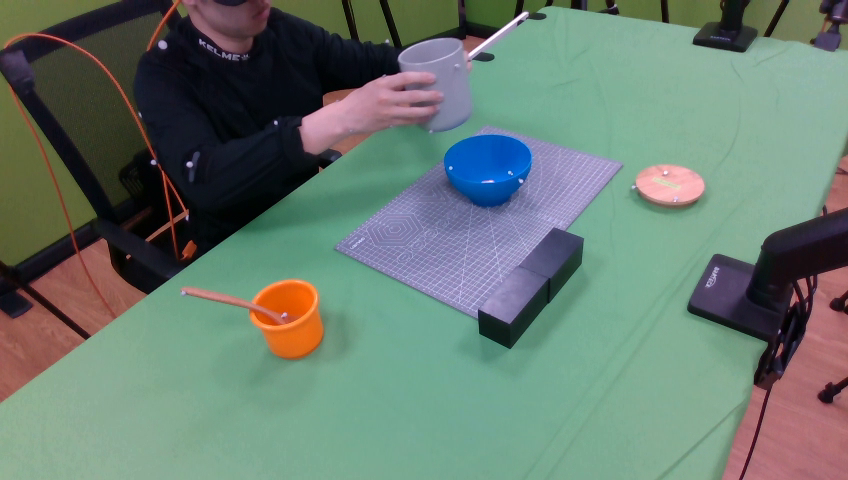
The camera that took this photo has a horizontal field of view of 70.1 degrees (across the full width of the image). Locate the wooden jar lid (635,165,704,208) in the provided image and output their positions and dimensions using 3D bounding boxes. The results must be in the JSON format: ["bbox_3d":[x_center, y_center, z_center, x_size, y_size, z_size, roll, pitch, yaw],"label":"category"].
[{"bbox_3d":[0.410,-0.089,1.014,0.108,0.021,0.108,-5,42,5],"label":"wooden jar lid"}]

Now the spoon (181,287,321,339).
[{"bbox_3d":[-0.223,0.093,0.796,0.021,0.195,0.041,-46,36,24],"label":"spoon"}]

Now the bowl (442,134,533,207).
[{"bbox_3d":[0.110,-0.109,1.033,0.151,0.077,0.150,-4,41,4],"label":"bowl"}]

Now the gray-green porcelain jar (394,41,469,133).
[{"bbox_3d":[0.016,-0.251,1.010,0.106,0.127,0.105,-10,35,8],"label":"gray-green porcelain jar"}]
